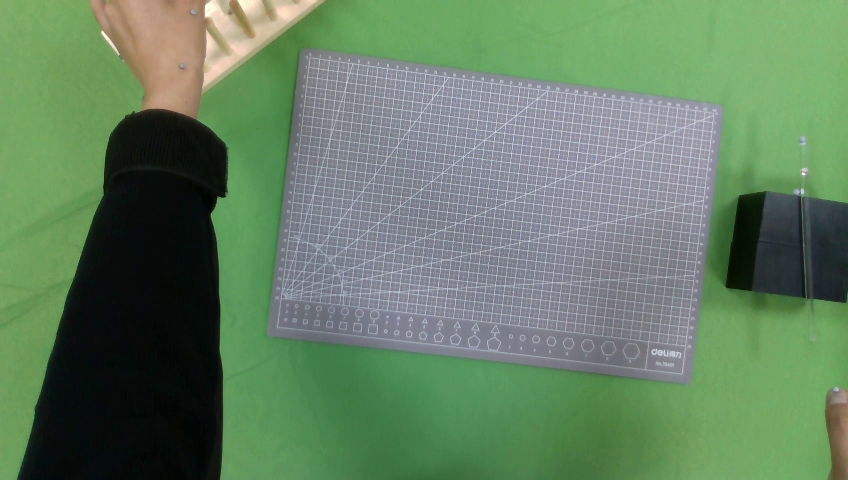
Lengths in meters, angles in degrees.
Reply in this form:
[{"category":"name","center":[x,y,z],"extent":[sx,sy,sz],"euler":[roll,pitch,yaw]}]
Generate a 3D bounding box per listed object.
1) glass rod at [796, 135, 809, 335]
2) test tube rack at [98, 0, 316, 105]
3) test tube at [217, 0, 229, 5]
[{"category":"glass rod","center":[0.378,-0.005,0.604],"extent":[0.008,0.008,0.199],"euler":[-3,91,-3]},{"category":"test tube rack","center":[-0.176,-0.237,0.580],"extent":[0.242,0.085,0.067],"euler":[-38,92,-2]},{"category":"test tube","center":[-0.196,-0.246,0.528],"extent":[0.017,0.150,0.017],"euler":[0,84,0]}]
